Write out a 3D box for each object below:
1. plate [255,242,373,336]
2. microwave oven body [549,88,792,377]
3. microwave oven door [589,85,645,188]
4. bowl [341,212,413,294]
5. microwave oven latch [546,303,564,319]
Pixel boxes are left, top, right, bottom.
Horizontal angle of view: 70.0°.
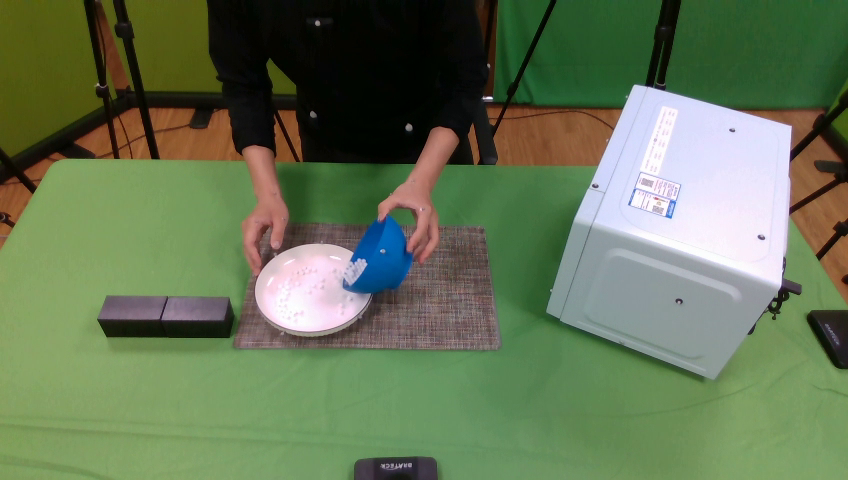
[{"bbox_3d":[-0.192,0.090,1.080,0.208,0.039,0.206,2,46,-2],"label":"plate"},{"bbox_3d":[0.456,-0.028,1.088,0.325,0.261,0.440,20,47,16],"label":"microwave oven body"},{"bbox_3d":[0.342,-0.107,1.148,0.039,0.245,0.354,20,48,15],"label":"microwave oven door"},{"bbox_3d":[-0.072,0.036,1.041,0.077,0.151,0.150,29,44,-17],"label":"bowl"},{"bbox_3d":[0.242,0.102,1.081,0.030,0.029,0.079,21,48,17],"label":"microwave oven latch"}]
